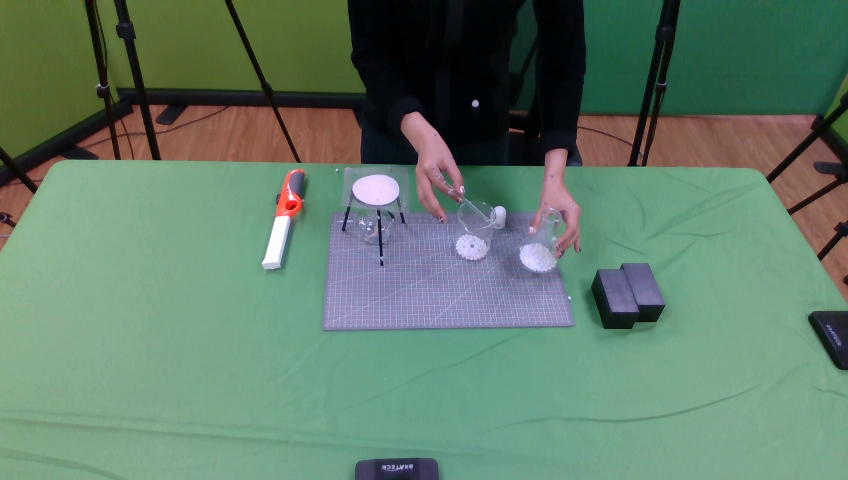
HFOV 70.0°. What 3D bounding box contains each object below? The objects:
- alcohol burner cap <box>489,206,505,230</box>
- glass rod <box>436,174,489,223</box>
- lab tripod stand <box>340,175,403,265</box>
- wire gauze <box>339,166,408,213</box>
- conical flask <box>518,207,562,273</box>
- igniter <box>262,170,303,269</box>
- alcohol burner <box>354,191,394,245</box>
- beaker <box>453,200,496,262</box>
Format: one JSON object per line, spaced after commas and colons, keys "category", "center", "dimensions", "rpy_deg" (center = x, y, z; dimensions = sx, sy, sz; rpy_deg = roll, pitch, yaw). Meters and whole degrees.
{"category": "alcohol burner cap", "center": [0.152, -0.047, 1.241], "dimensions": [0.034, 0.048, 0.033], "rpy_deg": [1, 44, -1]}
{"category": "glass rod", "center": [0.071, -0.071, 1.084], "dimensions": [0.008, 0.201, 0.008], "rpy_deg": [-14, 61, 27]}
{"category": "lab tripod stand", "center": [-0.094, -0.050, 1.160], "dimensions": [0.148, 0.132, 0.147], "rpy_deg": [2, 44, -2]}
{"category": "wire gauze", "center": [-0.091, -0.096, 1.110], "dimensions": [0.125, 0.011, 0.120], "rpy_deg": [2, 45, -3]}
{"category": "conical flask", "center": [0.218, -0.002, 1.100], "dimensions": [0.075, 0.122, 0.075], "rpy_deg": [3, 47, -3]}
{"category": "igniter", "center": [-0.283, -0.050, 1.222], "dimensions": [0.057, 0.025, 0.275], "rpy_deg": [-5, 45, 6]}
{"category": "alcohol burner", "center": [-0.096, -0.048, 1.171], "dimensions": [0.078, 0.119, 0.077], "rpy_deg": [4, 45, -4]}
{"category": "beaker", "center": [0.094, -0.012, 1.162], "dimensions": [0.074, 0.101, 0.083], "rpy_deg": [16, 47, 12]}
